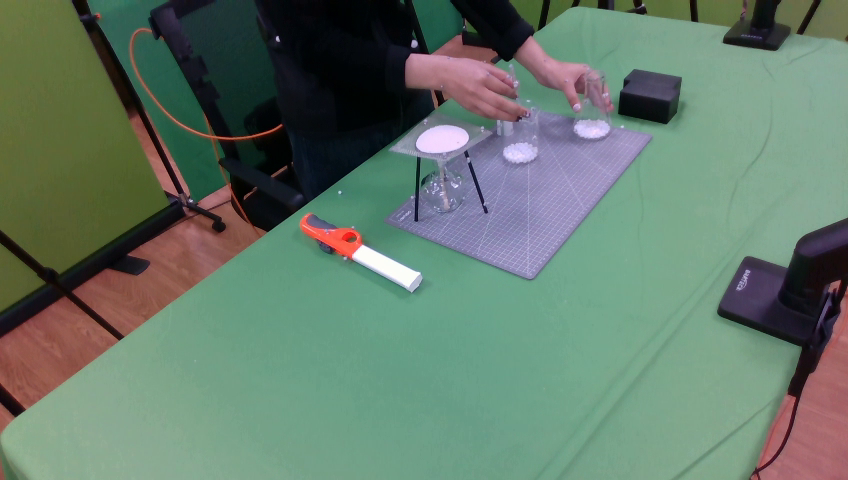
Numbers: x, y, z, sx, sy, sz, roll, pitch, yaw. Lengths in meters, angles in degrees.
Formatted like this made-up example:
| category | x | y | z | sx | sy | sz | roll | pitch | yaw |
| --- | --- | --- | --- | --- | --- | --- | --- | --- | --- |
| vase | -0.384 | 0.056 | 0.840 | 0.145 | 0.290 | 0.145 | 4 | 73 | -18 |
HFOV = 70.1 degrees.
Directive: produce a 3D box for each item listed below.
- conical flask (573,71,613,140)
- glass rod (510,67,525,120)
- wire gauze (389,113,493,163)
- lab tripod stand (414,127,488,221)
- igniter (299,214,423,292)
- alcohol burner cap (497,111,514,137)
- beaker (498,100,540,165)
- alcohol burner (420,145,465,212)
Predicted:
| category | x | y | z | sx | sy | sz | roll | pitch | yaw |
| --- | --- | --- | --- | --- | --- | --- | --- | --- | --- |
| conical flask | 0.321 | -0.256 | 1.142 | 0.075 | 0.122 | 0.075 | -5 | 40 | 5 |
| glass rod | 0.160 | -0.247 | 1.036 | 0.008 | 0.201 | 0.008 | -3 | 77 | 14 |
| wire gauze | 0.026 | -0.164 | 0.977 | 0.120 | 0.011 | 0.125 | 24 | 49 | 35 |
| lab tripod stand | 0.035 | -0.114 | 1.021 | 0.148 | 0.132 | 0.147 | -7 | 39 | 6 |
| igniter | -0.112 | 0.016 | 0.983 | 0.274 | 0.025 | 0.057 | 26 | 62 | 35 |
| alcohol burner cap | 0.163 | -0.235 | 1.211 | 0.034 | 0.048 | 0.033 | -5 | 40 | 5 |
| beaker | 0.180 | -0.196 | 1.117 | 0.074 | 0.101 | 0.083 | -25 | 43 | -17 |
| alcohol burner | 0.030 | -0.108 | 1.030 | 0.078 | 0.119 | 0.077 | -5 | 38 | 4 |
